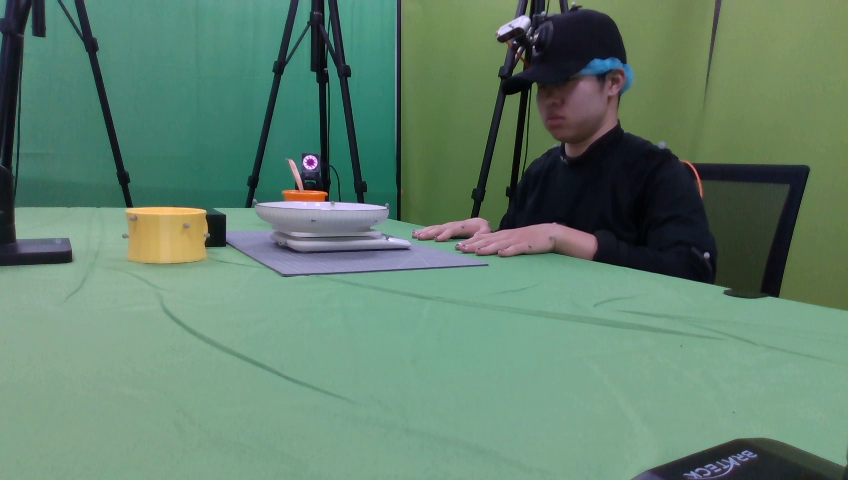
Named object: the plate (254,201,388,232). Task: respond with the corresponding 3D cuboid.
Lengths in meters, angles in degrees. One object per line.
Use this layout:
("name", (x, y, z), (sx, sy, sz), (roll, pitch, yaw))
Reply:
("plate", (-0.161, -0.038, 0.961), (0.209, 0.038, 0.209), (2, 6, 0))

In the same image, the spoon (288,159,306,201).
("spoon", (-0.259, -0.103, 1.268), (0.042, 0.193, 0.021), (3, -39, -33))

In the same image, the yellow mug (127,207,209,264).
("yellow mug", (-0.339, -0.010, 0.827), (0.100, 0.064, 0.131), (5, 7, 17))

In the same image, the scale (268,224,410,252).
("scale", (-0.137, -0.006, 0.979), (0.202, 0.031, 0.148), (-1, 8, -30))
